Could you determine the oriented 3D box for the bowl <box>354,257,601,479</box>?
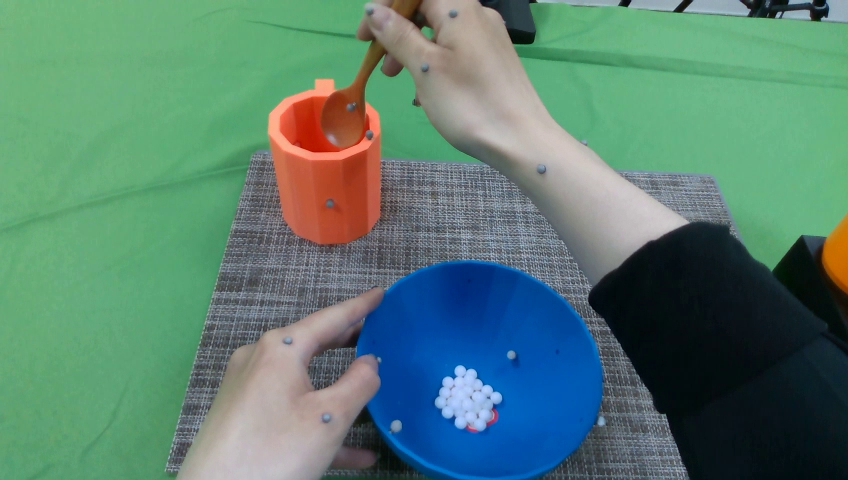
[{"bbox_3d":[0.030,0.093,0.394,0.151,0.077,0.150,3,50,-3],"label":"bowl"}]

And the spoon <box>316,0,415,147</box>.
[{"bbox_3d":[-0.041,-0.116,0.418,0.021,0.194,0.041,-39,91,-27],"label":"spoon"}]

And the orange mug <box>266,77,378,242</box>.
[{"bbox_3d":[-0.083,-0.075,0.510,0.083,0.101,0.125,-4,56,-8],"label":"orange mug"}]
